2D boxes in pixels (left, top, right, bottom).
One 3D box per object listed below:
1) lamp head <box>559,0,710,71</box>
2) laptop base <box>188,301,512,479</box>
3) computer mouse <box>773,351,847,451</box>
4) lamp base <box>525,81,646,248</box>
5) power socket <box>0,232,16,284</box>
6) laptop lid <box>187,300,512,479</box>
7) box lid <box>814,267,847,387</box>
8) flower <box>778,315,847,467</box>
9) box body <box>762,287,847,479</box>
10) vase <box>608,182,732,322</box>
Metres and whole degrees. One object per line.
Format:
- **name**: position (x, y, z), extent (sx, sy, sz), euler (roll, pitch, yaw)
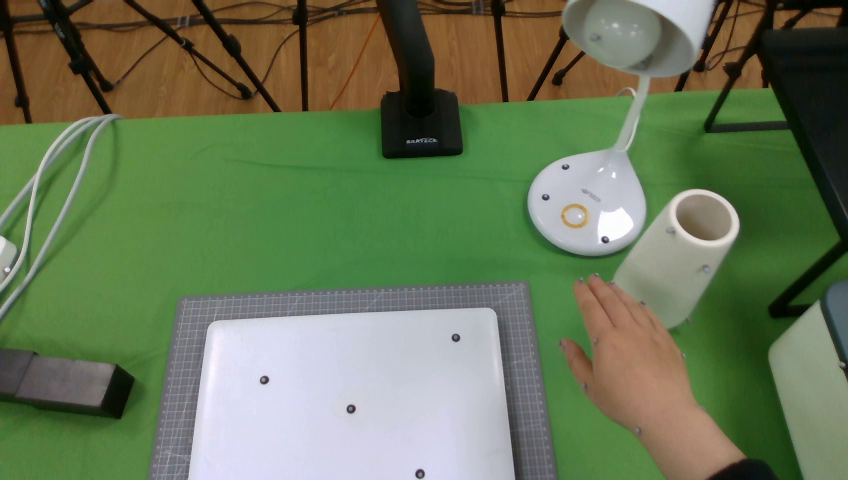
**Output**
- **lamp head**: position (0.184, -0.215, 0.492), extent (0.112, 0.113, 0.122), euler (24, 81, 14)
- **laptop base**: position (-0.085, 0.189, 0.702), extent (0.354, 0.023, 0.233), euler (-3, 64, -2)
- **computer mouse**: position (0.450, 0.178, 0.686), extent (0.063, 0.041, 0.116), euler (-8, 53, 1)
- **lamp base**: position (0.225, -0.107, 0.775), extent (0.160, 0.181, 0.178), euler (27, 62, 15)
- **power socket**: position (-0.588, 0.083, 0.756), extent (0.072, 0.033, 0.225), euler (4, 60, 2)
- **laptop lid**: position (-0.085, 0.186, 0.691), extent (0.357, 0.013, 0.239), euler (-2, 63, 0)
- **box lid**: position (0.527, 0.184, 0.533), extent (0.263, 0.015, 0.368), euler (-1, 60, -1)
- **flower**: position (0.451, 0.252, 0.629), extent (0.044, 0.038, 0.359), euler (11, 61, -45)
- **box body**: position (0.528, 0.222, 0.597), extent (0.254, 0.161, 0.360), euler (-2, 60, 0)
- **vase**: position (0.276, 0.017, 0.694), extent (0.098, 0.201, 0.097), euler (-1, 59, 2)
